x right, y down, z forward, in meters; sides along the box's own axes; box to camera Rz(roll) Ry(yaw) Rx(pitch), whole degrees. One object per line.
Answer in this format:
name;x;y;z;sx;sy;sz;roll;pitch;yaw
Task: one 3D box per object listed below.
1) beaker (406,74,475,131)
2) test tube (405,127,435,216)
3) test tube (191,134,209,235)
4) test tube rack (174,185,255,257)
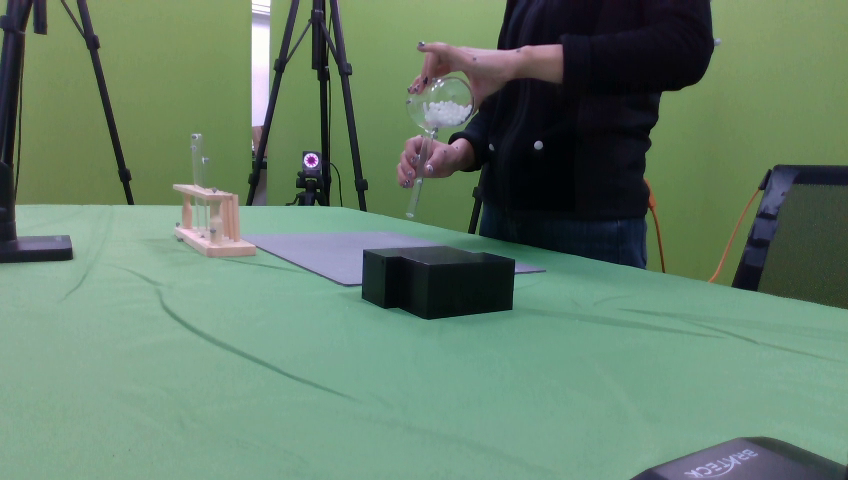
beaker;0.025;-0.202;0.887;0.074;0.084;0.100;-8;13;-20
test tube;-0.007;-0.107;0.964;0.017;0.150;0.017;13;22;-5
test tube;-0.332;-0.082;0.898;0.017;0.150;0.017;-2;6;0
test tube rack;-0.324;-0.035;0.922;0.067;0.085;0.241;-2;9;-31
